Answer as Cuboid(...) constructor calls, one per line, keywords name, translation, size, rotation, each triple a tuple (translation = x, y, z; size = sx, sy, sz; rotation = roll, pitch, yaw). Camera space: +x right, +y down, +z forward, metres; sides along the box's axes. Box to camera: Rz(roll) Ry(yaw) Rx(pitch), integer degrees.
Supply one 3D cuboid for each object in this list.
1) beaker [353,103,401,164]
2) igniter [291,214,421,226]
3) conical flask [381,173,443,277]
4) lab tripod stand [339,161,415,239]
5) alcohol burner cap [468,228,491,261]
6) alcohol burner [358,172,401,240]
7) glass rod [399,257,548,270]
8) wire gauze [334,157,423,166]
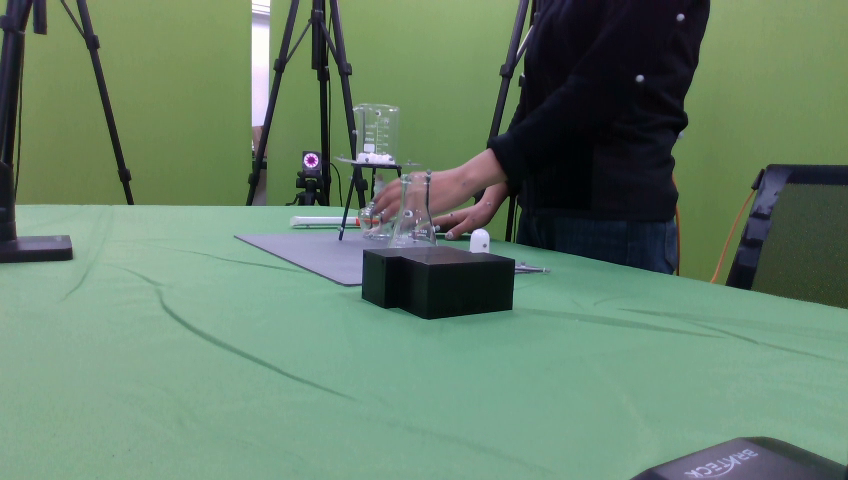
Cuboid(name="beaker", translation=(-0.084, -0.183, 1.046), size=(0.084, 0.100, 0.074), rotation=(4, 6, 3))
Cuboid(name="igniter", translation=(-0.135, -0.041, 1.250), size=(0.278, 0.025, 0.057), rotation=(-1, -3, -28))
Cuboid(name="conical flask", translation=(-0.012, -0.020, 0.732), size=(0.075, 0.122, 0.075), rotation=(2, 7, 0))
Cuboid(name="lab tripod stand", translation=(-0.082, -0.070, 1.060), size=(0.148, 0.131, 0.148), rotation=(4, 6, 0))
Cuboid(name="alcohol burner cap", translation=(0.082, 0.006, 0.878), size=(0.034, 0.048, 0.034), rotation=(3, 6, 0))
Cuboid(name="alcohol burner", translation=(-0.077, -0.061, 1.065), size=(0.078, 0.119, 0.078), rotation=(4, 9, 0))
Cuboid(name="glass rod", translation=(0.064, 0.031, 0.806), size=(0.199, 0.008, 0.008), rotation=(3, 7, 10))
Cuboid(name="wire gauze", translation=(-0.081, -0.135, 1.051), size=(0.122, 0.011, 0.124), rotation=(2, 5, -30))
